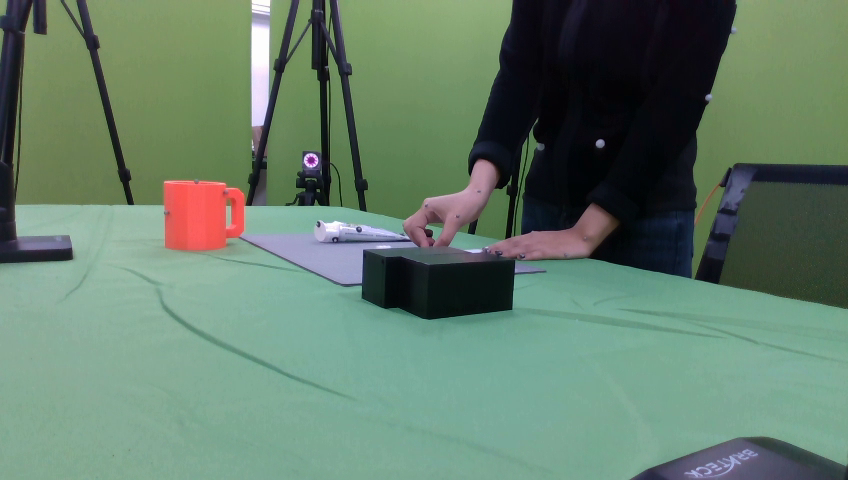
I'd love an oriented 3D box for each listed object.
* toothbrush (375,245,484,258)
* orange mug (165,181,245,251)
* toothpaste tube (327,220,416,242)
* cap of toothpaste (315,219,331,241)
[{"bbox_3d":[0.012,0.015,0.877,0.183,0.016,0.014,0,6,-30],"label":"toothbrush"},{"bbox_3d":[-0.326,-0.040,0.911,0.083,0.101,0.127,8,14,37],"label":"orange mug"},{"bbox_3d":[-0.095,-0.013,1.026,0.166,0.034,0.055,2,13,-33],"label":"toothpaste tube"},{"bbox_3d":[-0.164,-0.016,0.982,0.011,0.037,0.037,-8,12,-43],"label":"cap of toothpaste"}]
